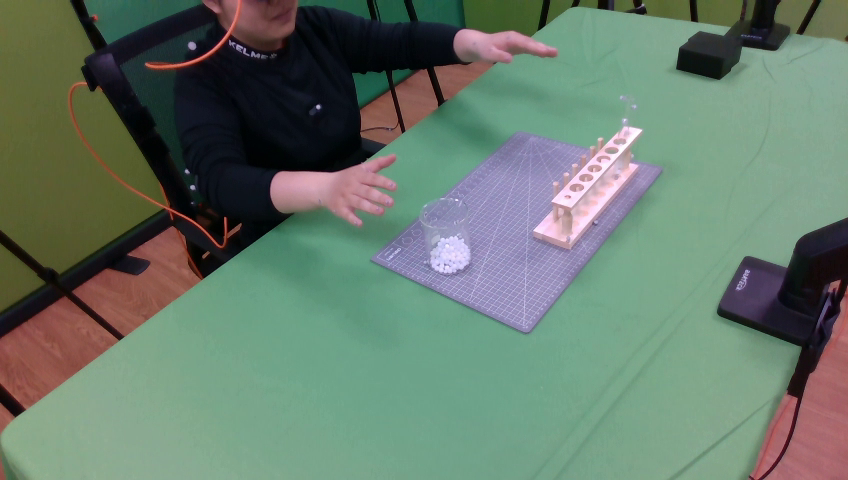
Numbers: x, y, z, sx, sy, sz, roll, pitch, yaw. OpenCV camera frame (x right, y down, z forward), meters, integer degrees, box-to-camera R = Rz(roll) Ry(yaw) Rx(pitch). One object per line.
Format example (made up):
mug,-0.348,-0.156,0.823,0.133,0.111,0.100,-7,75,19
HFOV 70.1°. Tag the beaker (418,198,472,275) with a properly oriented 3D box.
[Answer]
beaker,0.037,-0.004,0.916,0.073,0.101,0.084,24,49,33

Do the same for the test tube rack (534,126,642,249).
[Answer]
test tube rack,0.271,-0.095,0.990,0.066,0.085,0.243,23,49,33

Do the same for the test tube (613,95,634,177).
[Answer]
test tube,0.324,-0.166,0.987,0.017,0.151,0.017,-4,42,4
